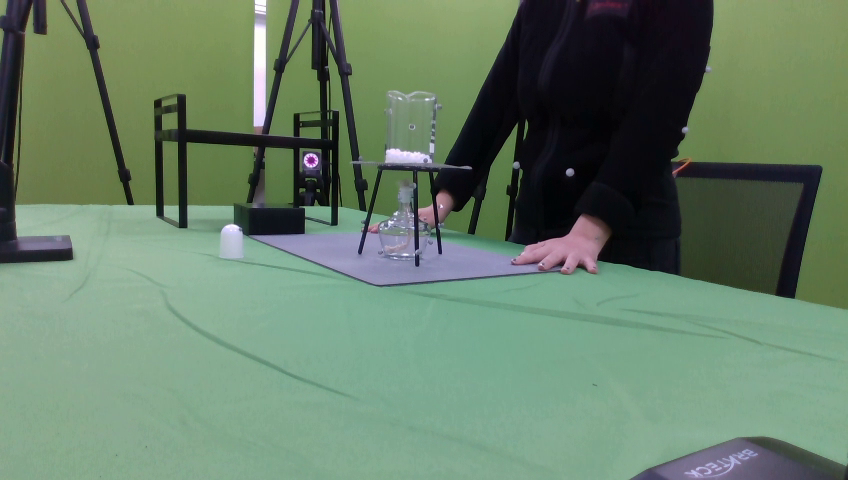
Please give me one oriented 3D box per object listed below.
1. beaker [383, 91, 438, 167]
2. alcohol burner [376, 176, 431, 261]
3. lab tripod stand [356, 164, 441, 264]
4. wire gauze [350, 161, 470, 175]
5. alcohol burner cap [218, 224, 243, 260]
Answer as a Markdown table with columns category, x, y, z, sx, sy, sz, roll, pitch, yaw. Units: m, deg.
| category | x | y | z | sx | sy | sz | roll | pitch | yaw |
| --- | --- | --- | --- | --- | --- | --- | --- | --- | --- |
| beaker | -0.020 | -0.152 | 0.838 | 0.074 | 0.100 | 0.084 | 4 | 7 | 7 |
| alcohol burner | -0.029 | -0.031 | 0.859 | 0.078 | 0.119 | 0.078 | 2 | 9 | 0 |
| lab tripod stand | -0.024 | -0.041 | 0.859 | 0.148 | 0.131 | 0.148 | 2 | 5 | 0 |
| wire gauze | -0.020 | -0.105 | 0.847 | 0.121 | 0.011 | 0.126 | 11 | 8 | 42 |
| alcohol burner cap | -0.263 | 0.002 | 0.824 | 0.034 | 0.048 | 0.034 | 5 | 8 | 0 |
